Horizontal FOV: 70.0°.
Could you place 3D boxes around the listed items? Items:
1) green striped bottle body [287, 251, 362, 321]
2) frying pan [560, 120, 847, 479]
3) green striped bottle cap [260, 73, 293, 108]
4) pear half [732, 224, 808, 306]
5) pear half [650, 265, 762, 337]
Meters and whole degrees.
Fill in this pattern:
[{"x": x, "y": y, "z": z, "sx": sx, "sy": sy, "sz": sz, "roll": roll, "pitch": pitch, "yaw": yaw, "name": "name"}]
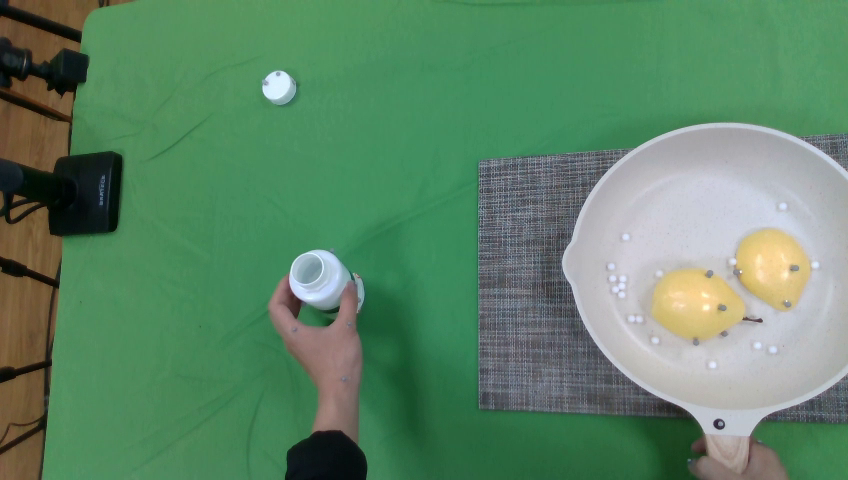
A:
[{"x": -0.119, "y": 0.054, "z": 0.715, "sx": 0.063, "sy": 0.120, "sz": 0.063, "roll": -4, "pitch": 70, "yaw": 10, "name": "green striped bottle body"}, {"x": 0.291, "y": 0.124, "z": 0.598, "sx": 0.306, "sy": 0.103, "sz": 0.485, "roll": 0, "pitch": 73, "yaw": 17, "name": "frying pan"}, {"x": -0.204, "y": -0.207, "z": 0.839, "sx": 0.044, "sy": 0.020, "sz": 0.044, "roll": -3, "pitch": 80, "yaw": 16, "name": "green striped bottle cap"}, {"x": 0.363, "y": 0.025, "z": 0.630, "sx": 0.070, "sy": 0.031, "sz": 0.087, "roll": -18, "pitch": 73, "yaw": 16, "name": "pear half"}, {"x": 0.296, "y": 0.066, "z": 0.631, "sx": 0.109, "sy": 0.056, "sz": 0.076, "roll": 10, "pitch": 89, "yaw": 15, "name": "pear half"}]
